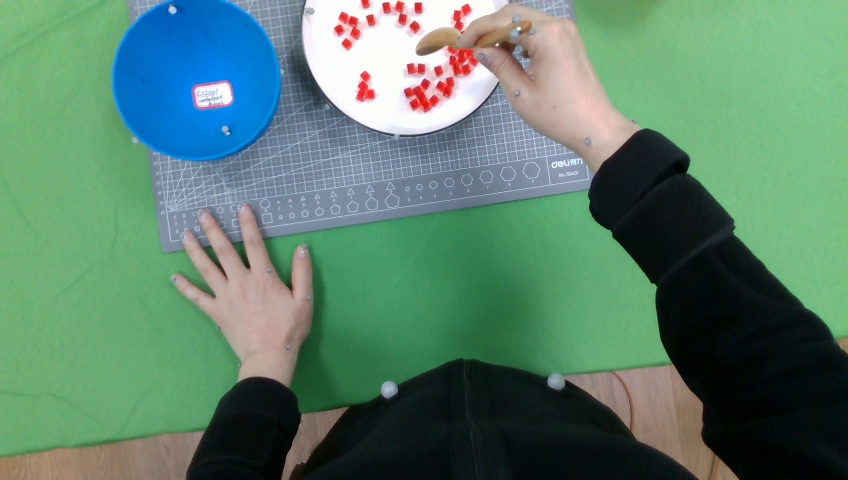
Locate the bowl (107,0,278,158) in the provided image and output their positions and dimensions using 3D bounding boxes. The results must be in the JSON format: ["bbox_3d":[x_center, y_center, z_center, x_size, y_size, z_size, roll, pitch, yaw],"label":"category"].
[{"bbox_3d":[-0.207,-0.148,0.578,0.151,0.077,0.151,0,90,-2],"label":"bowl"}]

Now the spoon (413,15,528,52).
[{"bbox_3d":[0.035,-0.161,0.477,0.042,0.192,0.022,-22,113,-14],"label":"spoon"}]

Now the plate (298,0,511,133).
[{"bbox_3d":[-0.019,-0.209,0.604,0.209,0.038,0.209,0,89,-1],"label":"plate"}]
